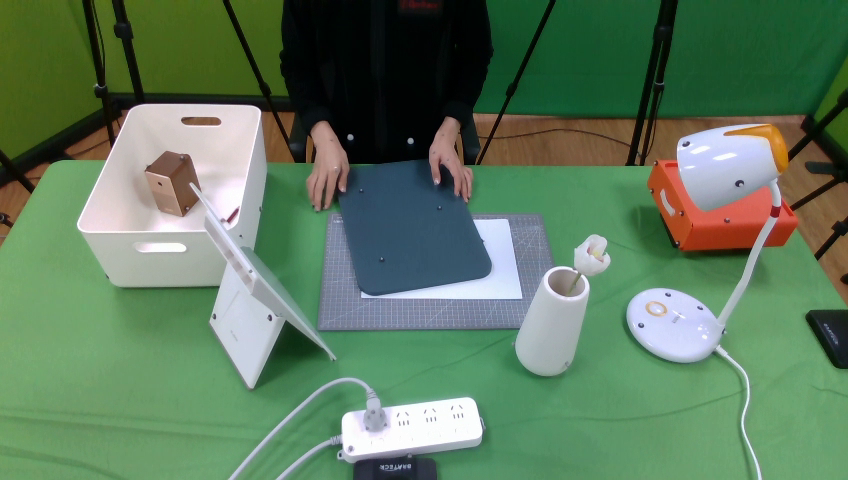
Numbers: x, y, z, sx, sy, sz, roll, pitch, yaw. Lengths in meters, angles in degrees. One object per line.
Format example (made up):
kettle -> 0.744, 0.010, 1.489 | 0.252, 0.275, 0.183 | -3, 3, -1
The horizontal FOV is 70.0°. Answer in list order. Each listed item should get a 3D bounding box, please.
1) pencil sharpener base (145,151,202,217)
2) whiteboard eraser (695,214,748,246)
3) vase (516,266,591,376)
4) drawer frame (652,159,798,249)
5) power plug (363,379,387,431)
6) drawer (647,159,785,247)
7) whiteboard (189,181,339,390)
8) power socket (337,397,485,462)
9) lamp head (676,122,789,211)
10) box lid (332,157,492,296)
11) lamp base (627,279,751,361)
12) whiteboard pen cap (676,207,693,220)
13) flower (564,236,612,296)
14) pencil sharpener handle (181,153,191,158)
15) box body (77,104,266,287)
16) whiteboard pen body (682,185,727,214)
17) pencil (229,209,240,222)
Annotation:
pencil sharpener base -> -0.491, -0.112, 1.199 | 0.061, 0.107, 0.076 | 15, 47, 12
whiteboard eraser -> 0.592, -0.019, 1.209 | 0.113, 0.042, 0.055 | 12, 27, -36
vase -> 0.208, 0.132, 0.964 | 0.098, 0.201, 0.097 | 3, 46, -3
drawer frame -> 0.588, -0.077, 1.219 | 0.214, 0.083, 0.200 | -2, 45, -5
power plug -> -0.072, 0.252, 0.910 | 0.035, 0.053, 0.072 | 3, 44, -1
drawer -> 0.582, -0.079, 1.214 | 0.212, 0.073, 0.193 | -1, 45, -5
whiteboard -> -0.292, 0.096, 0.929 | 0.144, 0.307, 0.216 | -37, 57, -10
power socket -> -0.018, 0.285, 0.915 | 0.227, 0.033, 0.071 | -5, 46, -8
lamp head -> 0.423, -0.104, 0.819 | 0.122, 0.113, 0.112 | -13, 33, 40
box lid -> -0.034, -0.041, 1.241 | 0.264, 0.015, 0.369 | -9, 47, -12
lamp base -> 0.459, 0.100, 1.027 | 0.178, 0.181, 0.160 | 27, 51, 17
whiteboard pen cap -> 0.524, -0.053, 1.216 | 0.033, 0.018, 0.018 | -28, 54, -23
flower -> 0.206, 0.088, 0.892 | 0.038, 0.363, 0.044 | -16, 67, -9
pencil sharpener handle -> -0.478, -0.156, 1.225 | 0.036, 0.068, 0.030 | 23, 48, 3
box body -> -0.447, -0.088, 1.150 | 0.254, 0.161, 0.361 | -1, 46, -5
whiteboard pen body -> 0.572, -0.081, 1.237 | 0.141, 0.017, 0.017 | -27, 54, -25
pencil -> -0.401, -0.008, 1.176 | 0.012, 0.012, 0.193 | 15, 44, 10
